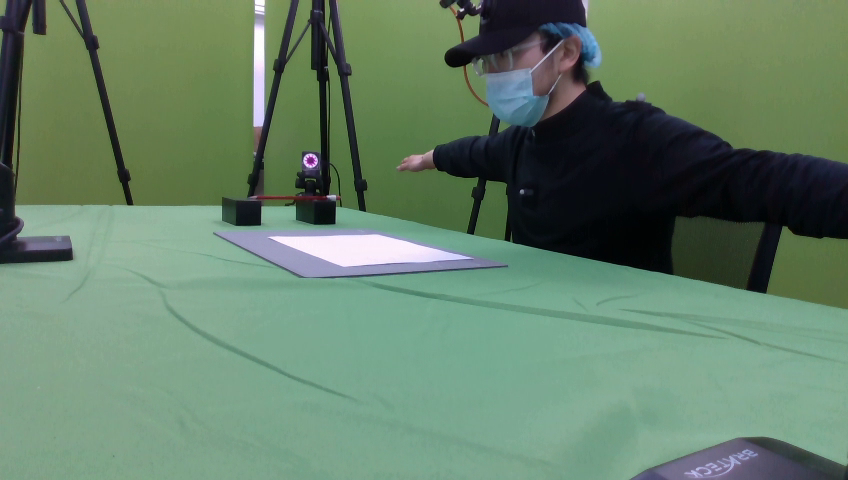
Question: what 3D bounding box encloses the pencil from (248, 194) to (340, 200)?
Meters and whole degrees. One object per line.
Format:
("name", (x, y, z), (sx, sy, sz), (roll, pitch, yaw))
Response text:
("pencil", (-0.275, -0.091, 1.291), (0.195, 0.012, 0.012), (-2, 9, -21))
